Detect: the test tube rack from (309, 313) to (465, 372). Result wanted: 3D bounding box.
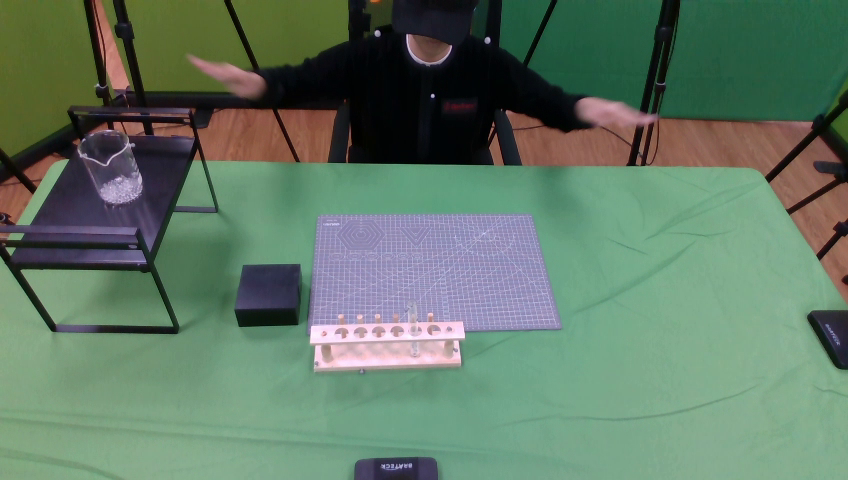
[{"bbox_3d":[-0.059,0.161,0.990,0.242,0.085,0.066,-1,46,-5],"label":"test tube rack"}]

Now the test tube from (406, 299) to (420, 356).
[{"bbox_3d":[-0.017,0.139,0.944,0.017,0.151,0.017,-1,50,1],"label":"test tube"}]

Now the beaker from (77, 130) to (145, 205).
[{"bbox_3d":[-0.493,-0.111,0.965,0.074,0.101,0.083,-14,49,-16],"label":"beaker"}]
